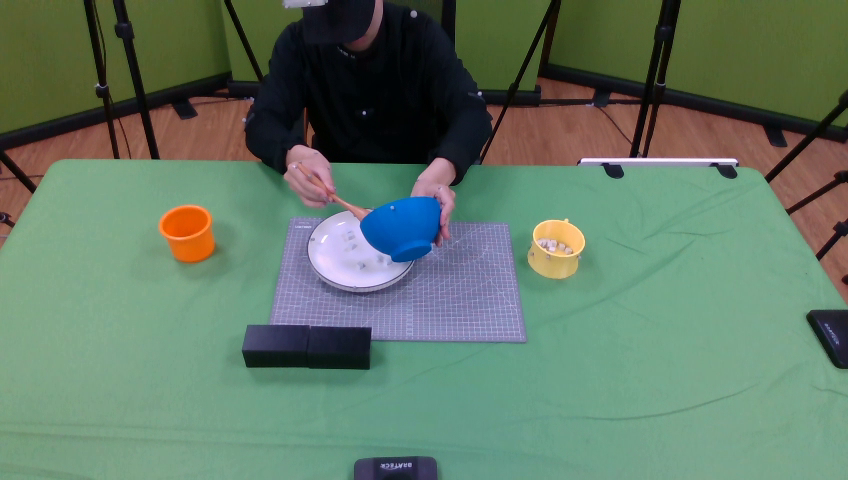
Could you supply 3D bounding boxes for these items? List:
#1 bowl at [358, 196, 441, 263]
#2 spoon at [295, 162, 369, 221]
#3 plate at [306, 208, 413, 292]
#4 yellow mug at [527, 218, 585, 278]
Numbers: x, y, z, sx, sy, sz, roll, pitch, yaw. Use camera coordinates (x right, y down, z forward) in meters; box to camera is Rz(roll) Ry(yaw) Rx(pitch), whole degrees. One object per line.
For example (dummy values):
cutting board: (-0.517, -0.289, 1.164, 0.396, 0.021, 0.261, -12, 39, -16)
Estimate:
bowl: (-0.034, -0.010, 1.067, 0.151, 0.152, 0.076, -12, 72, -16)
spoon: (-0.154, -0.074, 1.082, 0.194, 0.021, 0.041, 37, 47, -19)
plate: (-0.119, 0.021, 1.153, 0.209, 0.038, 0.208, 2, 46, -2)
yellow mug: (0.261, 0.006, 1.181, 0.100, 0.064, 0.130, 18, 47, 14)
